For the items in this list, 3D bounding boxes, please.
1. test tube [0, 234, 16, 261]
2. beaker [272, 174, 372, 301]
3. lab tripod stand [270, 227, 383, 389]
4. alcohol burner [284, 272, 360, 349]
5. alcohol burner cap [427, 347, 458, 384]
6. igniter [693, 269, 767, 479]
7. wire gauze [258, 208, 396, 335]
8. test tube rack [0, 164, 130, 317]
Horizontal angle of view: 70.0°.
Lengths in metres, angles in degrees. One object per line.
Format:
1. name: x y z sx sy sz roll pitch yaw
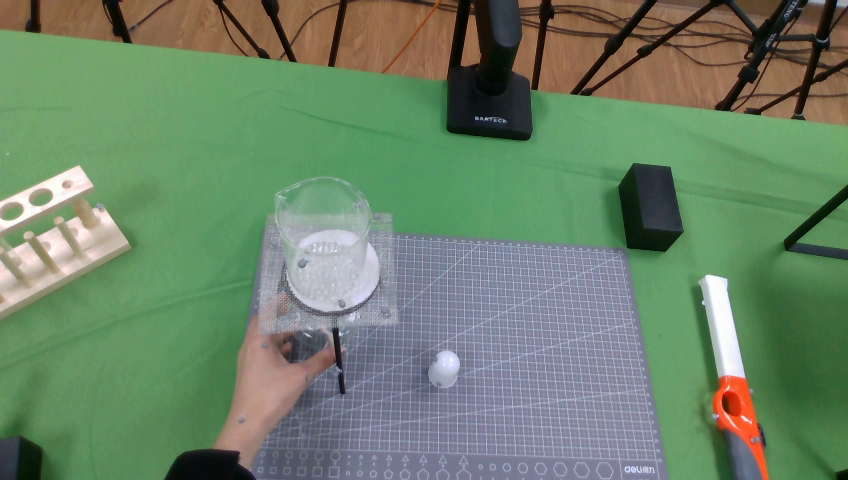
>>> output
1. test tube: -0.435 -0.023 0.590 0.017 0.151 0.017 4 54 -6
2. beaker: -0.088 0.001 0.515 0.084 0.101 0.073 26 60 8
3. lab tripod stand: -0.093 0.061 0.613 0.149 0.132 0.147 4 60 -7
4. alcohol burner: -0.104 0.065 0.620 0.078 0.120 0.077 5 57 -8
5. alcohol burner cap: 0.021 0.131 0.641 0.034 0.048 0.033 2 62 -4
6. igniter: 0.341 0.159 0.679 0.057 0.025 0.274 11 59 -13
7. wire gauze: -0.089 0.024 0.559 0.122 0.011 0.124 -1 64 -7
8. test tube rack: -0.443 0.025 0.618 0.242 0.086 0.066 -34 69 -24
